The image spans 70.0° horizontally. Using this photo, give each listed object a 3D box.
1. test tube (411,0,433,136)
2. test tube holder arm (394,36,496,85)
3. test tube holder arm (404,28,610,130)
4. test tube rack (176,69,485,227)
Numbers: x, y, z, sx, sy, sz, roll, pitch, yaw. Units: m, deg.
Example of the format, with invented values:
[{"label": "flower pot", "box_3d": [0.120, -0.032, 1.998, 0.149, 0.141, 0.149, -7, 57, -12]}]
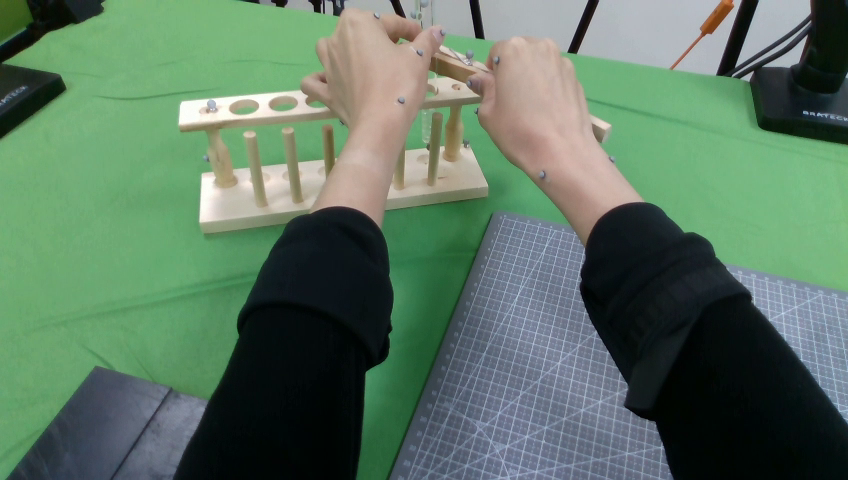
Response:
[{"label": "test tube", "box_3d": [-0.001, -0.146, 0.483, 0.017, 0.151, 0.017, -1, 46, 1]}, {"label": "test tube holder arm", "box_3d": [0.017, -0.139, 0.468, 0.087, 0.015, 0.010, 22, 57, 17]}, {"label": "test tube holder arm", "box_3d": [0.057, -0.124, 0.455, 0.177, 0.015, 0.013, 29, 59, 21]}, {"label": "test tube rack", "box_3d": [-0.070, -0.080, 0.508, 0.243, 0.086, 0.066, -9, 46, -10]}]
